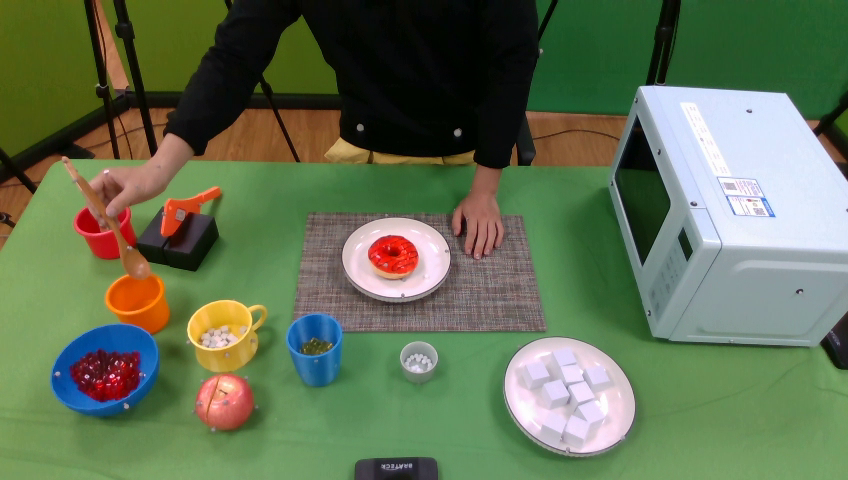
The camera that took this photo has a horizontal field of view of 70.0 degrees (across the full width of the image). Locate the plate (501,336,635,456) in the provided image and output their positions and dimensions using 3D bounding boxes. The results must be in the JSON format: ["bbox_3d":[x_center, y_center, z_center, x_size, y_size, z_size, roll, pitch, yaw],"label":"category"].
[{"bbox_3d":[0.225,0.248,0.963,0.208,0.039,0.206,2,46,-2],"label":"plate"}]

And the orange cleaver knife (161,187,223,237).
[{"bbox_3d":[-0.448,-0.058,1.180,0.012,0.077,0.211,12,17,6],"label":"orange cleaver knife"}]

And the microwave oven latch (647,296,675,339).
[{"bbox_3d":[0.413,0.134,1.061,0.030,0.029,0.078,5,45,2],"label":"microwave oven latch"}]

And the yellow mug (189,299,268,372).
[{"bbox_3d":[-0.316,0.148,1.001,0.131,0.064,0.099,-32,56,-31],"label":"yellow mug"}]

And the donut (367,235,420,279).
[{"bbox_3d":[-0.057,0.032,1.132,0.099,0.048,0.098,3,45,-3],"label":"donut"}]

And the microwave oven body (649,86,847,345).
[{"bbox_3d":[0.568,-0.053,1.118,0.326,0.261,0.439,2,45,-1],"label":"microwave oven body"}]

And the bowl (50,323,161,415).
[{"bbox_3d":[-0.472,0.209,0.924,0.151,0.077,0.150,3,45,-2],"label":"bowl"}]

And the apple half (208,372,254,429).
[{"bbox_3d":[-0.282,0.244,0.908,0.053,0.075,0.080,7,43,-1],"label":"apple half"}]

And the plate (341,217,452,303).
[{"bbox_3d":[-0.052,0.039,1.140,0.209,0.038,0.208,2,46,-2],"label":"plate"}]

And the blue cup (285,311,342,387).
[{"bbox_3d":[-0.170,0.180,0.958,0.093,0.101,0.092,2,44,-1],"label":"blue cup"}]

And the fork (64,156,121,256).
[{"bbox_3d":[-0.614,-0.064,1.129,0.028,0.018,0.207,-30,97,-16],"label":"fork"}]

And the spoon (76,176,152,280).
[{"bbox_3d":[-0.483,-0.017,0.946,0.021,0.195,0.041,1,36,24],"label":"spoon"}]

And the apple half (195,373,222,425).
[{"bbox_3d":[-0.322,0.240,0.907,0.033,0.081,0.081,6,46,1],"label":"apple half"}]

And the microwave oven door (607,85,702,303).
[{"bbox_3d":[0.423,-0.094,1.140,0.039,0.245,0.353,2,46,-1],"label":"microwave oven door"}]

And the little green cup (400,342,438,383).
[{"bbox_3d":[-0.010,0.202,0.991,0.061,0.039,0.061,2,47,-2],"label":"little green cup"}]
